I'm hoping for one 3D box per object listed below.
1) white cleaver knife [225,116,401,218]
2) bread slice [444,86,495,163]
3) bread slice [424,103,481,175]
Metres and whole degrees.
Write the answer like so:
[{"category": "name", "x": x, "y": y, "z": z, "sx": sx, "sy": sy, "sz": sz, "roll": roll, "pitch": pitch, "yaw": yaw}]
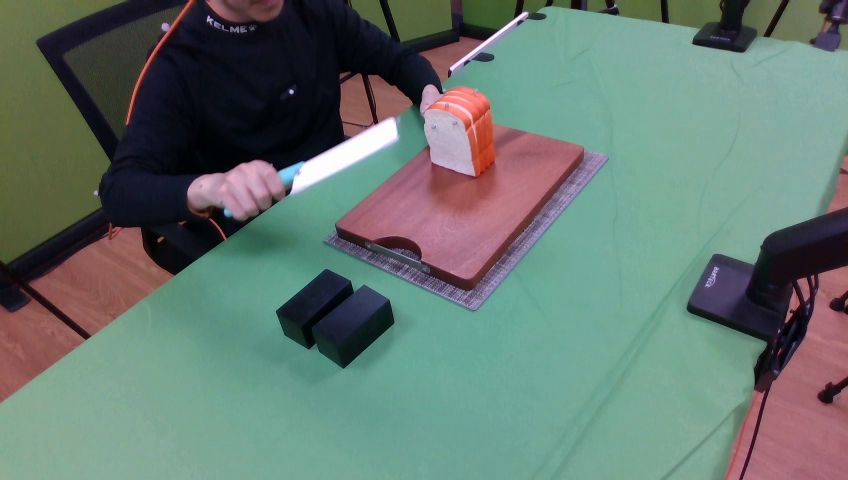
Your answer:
[{"category": "white cleaver knife", "x": -0.155, "y": -0.090, "z": 0.802, "sx": 0.285, "sy": 0.022, "sz": 0.065, "roll": -25, "pitch": 40, "yaw": 19}, {"category": "bread slice", "x": 0.078, "y": -0.204, "z": 1.067, "sx": 0.106, "sy": 0.135, "sz": 0.018, "roll": 25, "pitch": 50, "yaw": 29}, {"category": "bread slice", "x": 0.044, "y": -0.174, "z": 1.039, "sx": 0.104, "sy": 0.132, "sz": 0.019, "roll": 21, "pitch": 54, "yaw": 32}]
